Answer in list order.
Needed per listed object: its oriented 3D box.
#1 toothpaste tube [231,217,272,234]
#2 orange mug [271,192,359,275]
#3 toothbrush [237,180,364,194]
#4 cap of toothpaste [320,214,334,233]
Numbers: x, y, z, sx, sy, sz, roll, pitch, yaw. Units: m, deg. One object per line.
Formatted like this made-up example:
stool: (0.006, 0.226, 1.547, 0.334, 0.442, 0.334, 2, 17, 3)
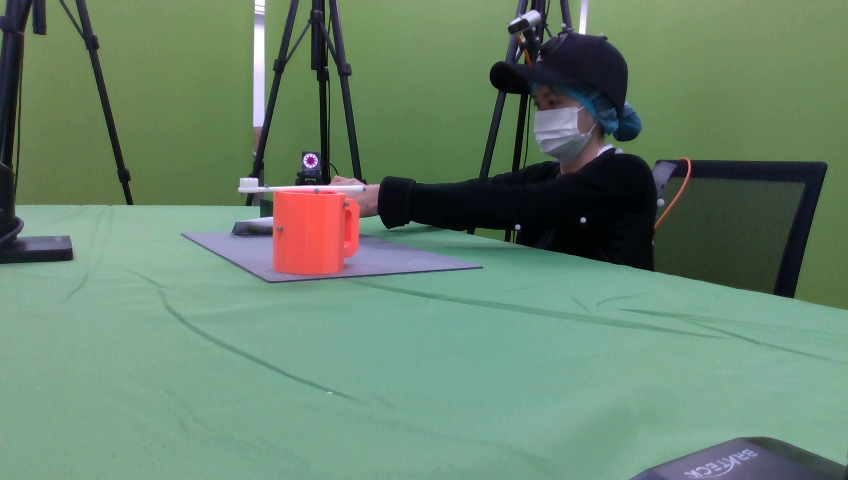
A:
toothpaste tube: (-0.251, -0.026, 1.063, 0.166, 0.034, 0.055, -3, -24, -28)
orange mug: (-0.131, -0.013, 0.754, 0.083, 0.101, 0.127, 8, 13, 38)
toothbrush: (-0.144, -0.064, 0.737, 0.014, 0.016, 0.183, 4, 6, 43)
cap of toothpaste: (-0.177, -0.030, 1.101, 0.011, 0.037, 0.037, 14, -2, -39)
